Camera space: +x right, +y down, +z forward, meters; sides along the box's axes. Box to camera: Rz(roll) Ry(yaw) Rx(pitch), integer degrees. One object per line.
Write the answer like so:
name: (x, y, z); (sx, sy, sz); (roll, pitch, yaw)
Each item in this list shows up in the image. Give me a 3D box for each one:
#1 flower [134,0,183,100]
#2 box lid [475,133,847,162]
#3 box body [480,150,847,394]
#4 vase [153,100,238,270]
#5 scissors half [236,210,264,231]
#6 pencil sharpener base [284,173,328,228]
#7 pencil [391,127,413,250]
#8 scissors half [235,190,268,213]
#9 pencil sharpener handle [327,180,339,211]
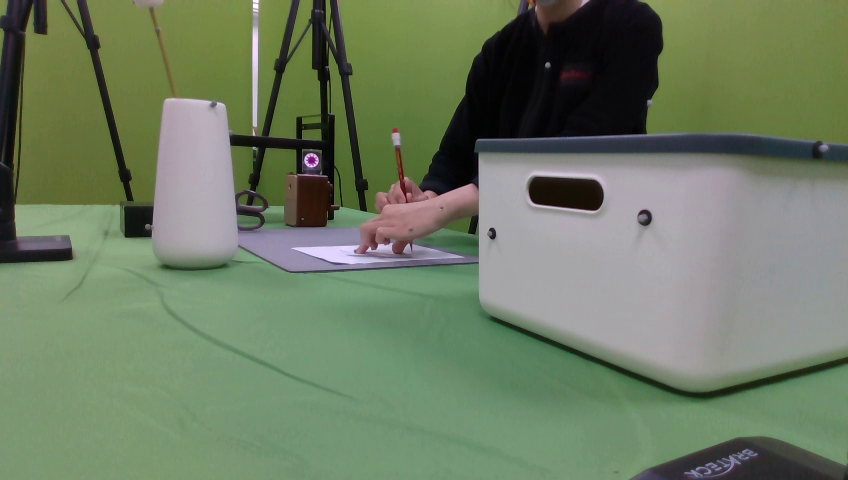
flower: (-0.282, -0.147, 0.713); (0.038, 0.362, 0.044); (-23, 24, -31)
box lid: (0.256, -0.073, 0.528); (0.373, 0.015, 0.262); (-2, 8, -31)
box body: (0.254, 0.002, 0.539); (0.366, 0.160, 0.253); (-2, 8, -31)
vase: (-0.278, -0.066, 0.736); (0.098, 0.200, 0.098); (2, 9, 0)
scissors half: (-0.369, -0.051, 1.065); (0.176, 0.040, 0.012); (19, 13, -27)
pencil sharpener base: (-0.239, -0.081, 1.231); (0.077, 0.107, 0.061); (-2, 8, -36)
pencil: (-0.032, -0.078, 0.914); (0.012, 0.193, 0.012); (-8, -9, -1)
scissors half: (-0.363, -0.070, 1.060); (0.176, 0.040, 0.013); (0, 16, -23)
pencil sharpener handle: (-0.194, -0.095, 1.256); (0.031, 0.067, 0.036); (-2, -5, -36)
